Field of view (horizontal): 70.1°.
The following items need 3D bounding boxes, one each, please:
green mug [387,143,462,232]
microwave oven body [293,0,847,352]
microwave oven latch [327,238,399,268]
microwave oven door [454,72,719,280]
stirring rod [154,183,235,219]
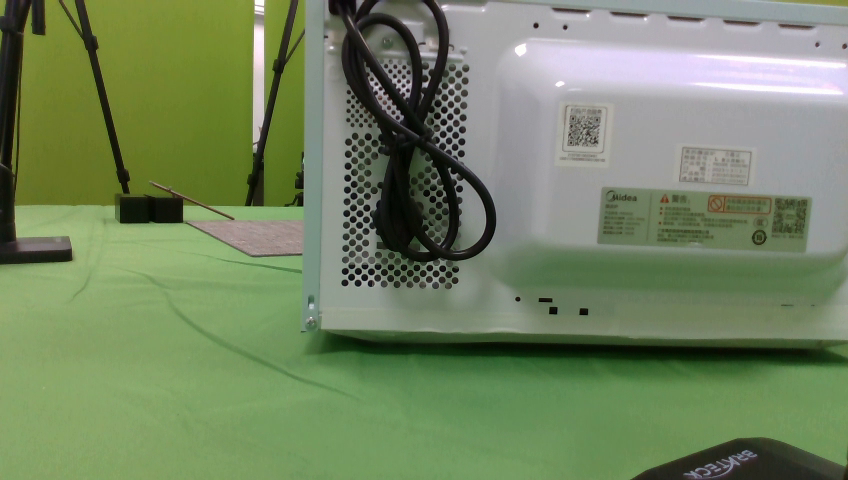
[{"bbox_3d":[-0.006,-0.072,0.799,0.093,0.105,0.124,3,11,-32],"label":"green mug"},{"bbox_3d":[0.122,-0.055,0.550,0.442,0.260,0.325,3,7,-5],"label":"microwave oven body"},{"bbox_3d":[-0.069,0.015,0.694,0.079,0.029,0.030,3,7,-3],"label":"microwave oven latch"},{"bbox_3d":[0.195,-0.091,0.815,0.354,0.243,0.039,8,9,39],"label":"microwave oven door"},{"bbox_3d":[-0.472,-0.079,1.252,0.177,0.006,0.014,27,4,-35],"label":"stirring rod"}]
